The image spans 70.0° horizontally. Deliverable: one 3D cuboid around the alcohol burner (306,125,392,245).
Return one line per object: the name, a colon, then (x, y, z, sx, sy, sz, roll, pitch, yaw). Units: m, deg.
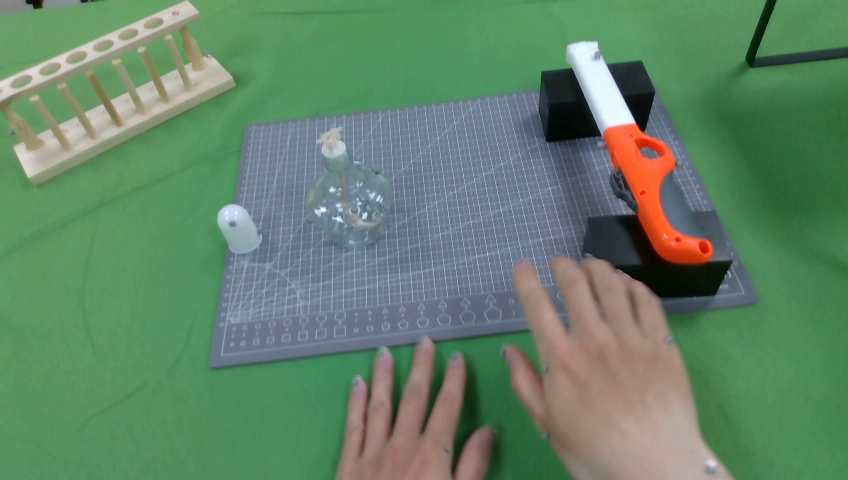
alcohol burner: (-0.069, -0.051, 0.529, 0.078, 0.120, 0.077, -3, 50, 5)

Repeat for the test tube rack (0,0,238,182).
test tube rack: (-0.341, -0.169, 0.670, 0.242, 0.086, 0.066, -33, 56, -18)

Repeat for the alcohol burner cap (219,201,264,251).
alcohol burner cap: (-0.170, -0.016, 0.558, 0.034, 0.048, 0.033, -3, 54, 5)

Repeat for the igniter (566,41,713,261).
igniter: (0.176, -0.090, 0.526, 0.057, 0.025, 0.273, -10, 50, 0)
